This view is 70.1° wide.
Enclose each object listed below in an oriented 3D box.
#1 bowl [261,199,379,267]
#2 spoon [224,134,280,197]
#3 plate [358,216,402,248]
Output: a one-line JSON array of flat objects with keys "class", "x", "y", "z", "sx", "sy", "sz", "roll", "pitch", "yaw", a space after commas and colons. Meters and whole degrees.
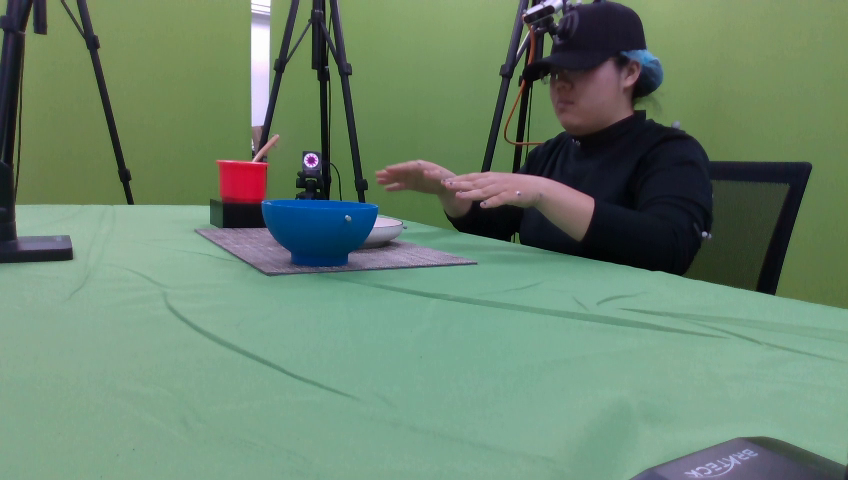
[{"class": "bowl", "x": -0.135, "y": -0.009, "z": 0.786, "sx": 0.151, "sy": 0.077, "sz": 0.151, "roll": 3, "pitch": 7, "yaw": 0}, {"class": "spoon", "x": -0.333, "y": -0.150, "z": 1.192, "sx": 0.041, "sy": 0.022, "sz": 0.194, "roll": 6, "pitch": 52, "yaw": 24}, {"class": "plate", "x": -0.140, "y": -0.015, "z": 0.993, "sx": 0.208, "sy": 0.039, "sz": 0.207, "roll": 3, "pitch": 8, "yaw": 0}]
